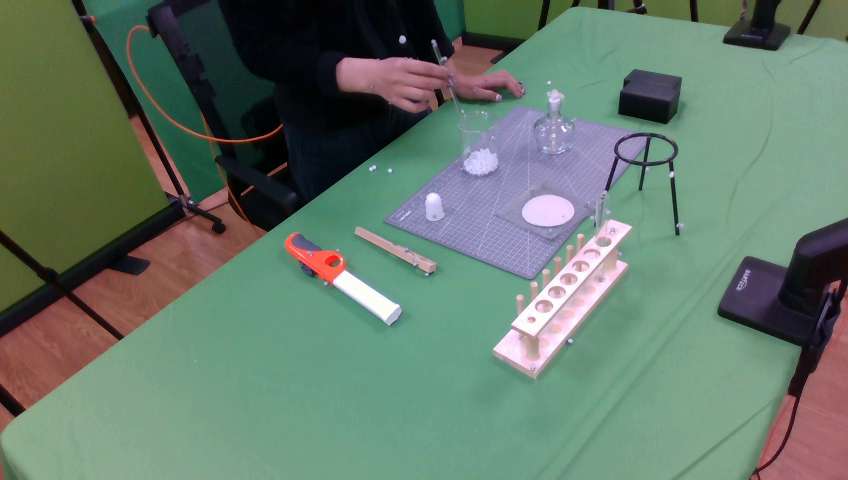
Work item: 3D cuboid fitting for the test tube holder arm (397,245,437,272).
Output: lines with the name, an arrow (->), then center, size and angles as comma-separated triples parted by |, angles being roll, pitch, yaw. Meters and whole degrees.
test tube holder arm -> -0.016, 0.029, 0.958 | 0.087, 0.015, 0.010 | 25, 16, 35

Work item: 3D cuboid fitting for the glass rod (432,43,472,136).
glass rod -> 0.050, -0.246, 1.012 | 0.008, 0.201, 0.008 | -13, 50, 16

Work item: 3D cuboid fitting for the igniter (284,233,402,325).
igniter -> -0.136, 0.054, 0.942 | 0.274, 0.025, 0.057 | 30, 63, 37

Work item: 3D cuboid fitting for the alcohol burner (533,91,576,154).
alcohol burner -> 0.243, -0.222, 1.124 | 0.078, 0.119, 0.077 | -4, 39, 4

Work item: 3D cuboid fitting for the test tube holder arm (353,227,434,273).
test tube holder arm -> -0.053, 0.014, 0.979 | 0.177, 0.015, 0.013 | 25, 16, 34

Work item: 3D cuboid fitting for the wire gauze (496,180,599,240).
wire gauze -> 0.206, -0.050, 1.012 | 0.125, 0.011, 0.120 | -34, 45, -26

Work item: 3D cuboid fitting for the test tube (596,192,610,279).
test tube -> 0.240, -0.002, 0.814 | 0.017, 0.151, 0.017 | -7, 42, 7

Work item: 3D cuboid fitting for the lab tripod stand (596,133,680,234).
lab tripod stand -> 0.338, -0.090, 0.940 | 0.148, 0.132, 0.147 | -7, 39, 6

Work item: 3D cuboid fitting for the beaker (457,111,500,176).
beaker -> 0.104, -0.175, 1.108 | 0.073, 0.101, 0.084 | 16, 46, 27

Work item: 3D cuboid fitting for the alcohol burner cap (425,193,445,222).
alcohol burner cap -> 0.017, -0.058, 1.030 | 0.034, 0.048, 0.033 | -6, 40, 5

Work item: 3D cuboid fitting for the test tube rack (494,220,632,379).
test tube rack -> 0.191, 0.068, 0.818 | 0.066, 0.085, 0.243 | 25, 51, 35
